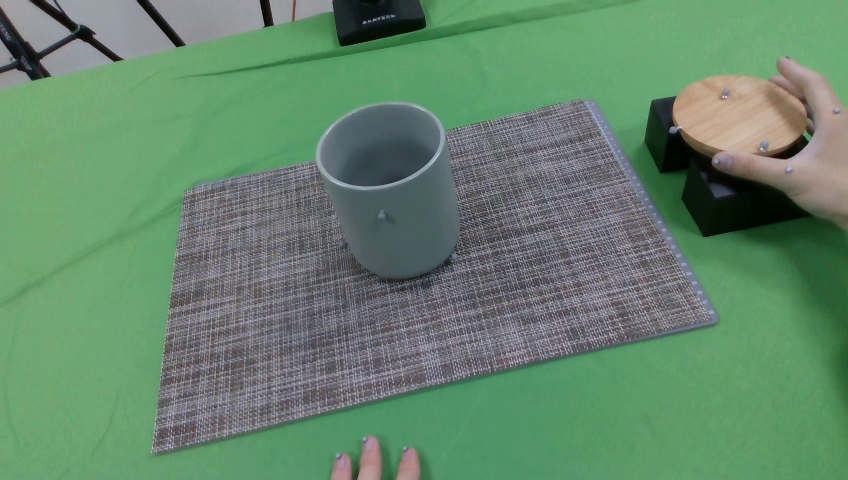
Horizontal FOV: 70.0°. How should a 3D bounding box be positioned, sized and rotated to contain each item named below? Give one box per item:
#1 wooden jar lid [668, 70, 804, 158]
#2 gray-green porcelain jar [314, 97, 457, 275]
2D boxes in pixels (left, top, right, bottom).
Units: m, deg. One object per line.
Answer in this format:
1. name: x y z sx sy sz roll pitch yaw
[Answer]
1. wooden jar lid: 0.272 -0.110 0.534 0.108 0.021 0.107 -5 51 7
2. gray-green porcelain jar: -0.027 -0.040 0.522 0.106 0.128 0.105 -5 50 7
